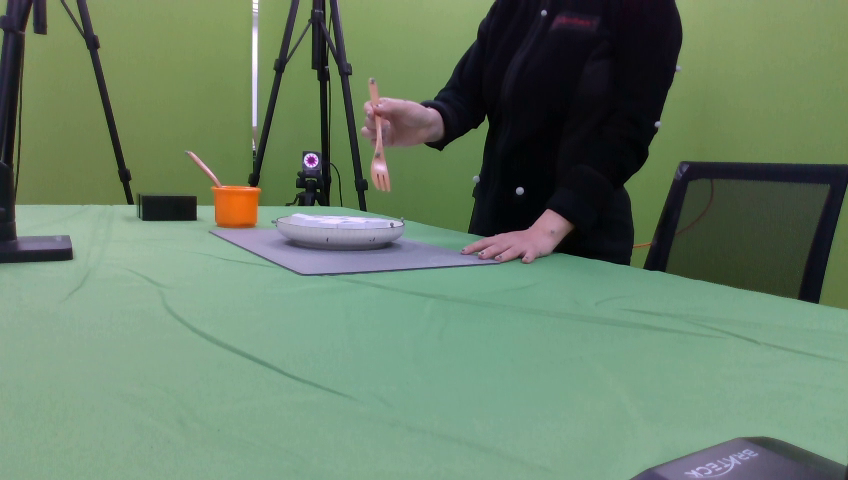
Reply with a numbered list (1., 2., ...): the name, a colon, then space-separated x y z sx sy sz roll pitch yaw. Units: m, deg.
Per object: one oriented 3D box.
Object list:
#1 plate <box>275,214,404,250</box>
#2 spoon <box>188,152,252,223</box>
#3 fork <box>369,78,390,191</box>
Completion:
1. plate: -0.135 -0.013 0.982 0.208 0.039 0.207 3 7 0
2. spoon: -0.400 -0.103 1.178 0.021 0.193 0.042 -43 -11 28
3. fork: -0.069 -0.161 0.900 0.028 0.207 0.018 5 -26 -23
